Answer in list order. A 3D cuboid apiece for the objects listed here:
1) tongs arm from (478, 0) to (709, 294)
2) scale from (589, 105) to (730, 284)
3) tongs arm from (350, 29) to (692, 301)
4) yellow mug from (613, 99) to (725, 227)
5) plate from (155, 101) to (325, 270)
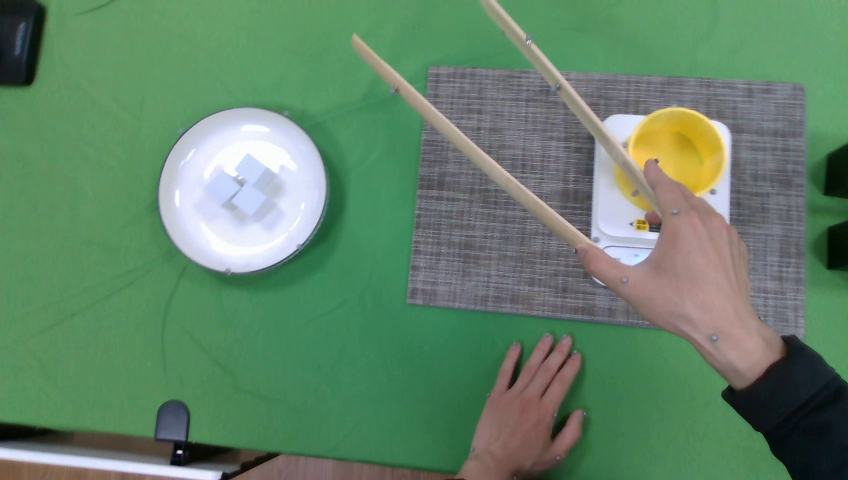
[{"bbox_3d":[0.121,-0.117,0.542,0.051,0.027,0.382,-33,70,-9],"label":"tongs arm"},{"bbox_3d":[0.270,-0.054,0.697,0.148,0.031,0.200,4,83,6],"label":"scale"},{"bbox_3d":[0.064,-0.076,0.532,0.028,0.028,0.385,-42,71,-16],"label":"tongs arm"},{"bbox_3d":[0.264,-0.079,0.653,0.100,0.064,0.130,-6,83,4],"label":"yellow mug"},{"bbox_3d":[-0.221,-0.065,0.742,0.207,0.039,0.207,-1,82,5],"label":"plate"}]
